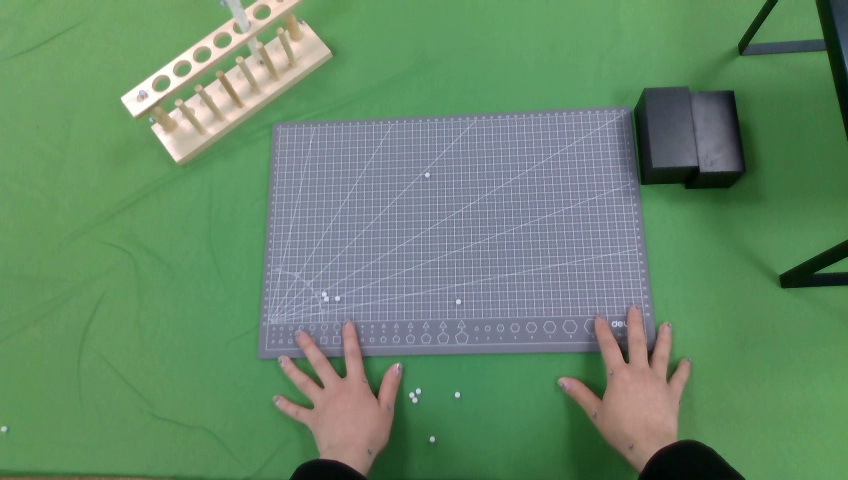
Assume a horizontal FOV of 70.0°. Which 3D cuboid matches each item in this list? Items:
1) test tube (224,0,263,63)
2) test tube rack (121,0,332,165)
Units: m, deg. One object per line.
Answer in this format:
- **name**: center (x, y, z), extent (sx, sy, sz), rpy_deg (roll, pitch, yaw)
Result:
- **test tube**: center (-0.217, -0.260, 0.720), extent (0.017, 0.151, 0.017), rpy_deg (-1, 70, 2)
- **test tube rack**: center (-0.239, -0.204, 0.757), extent (0.242, 0.086, 0.066), rpy_deg (-38, 74, -7)
